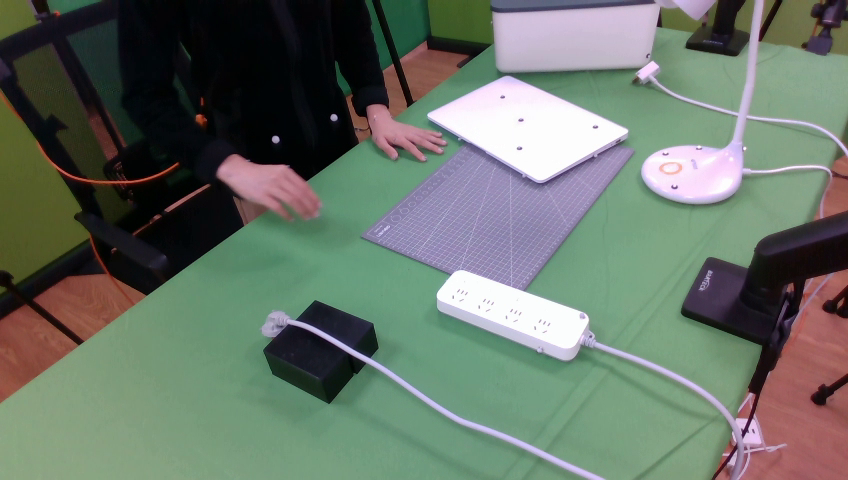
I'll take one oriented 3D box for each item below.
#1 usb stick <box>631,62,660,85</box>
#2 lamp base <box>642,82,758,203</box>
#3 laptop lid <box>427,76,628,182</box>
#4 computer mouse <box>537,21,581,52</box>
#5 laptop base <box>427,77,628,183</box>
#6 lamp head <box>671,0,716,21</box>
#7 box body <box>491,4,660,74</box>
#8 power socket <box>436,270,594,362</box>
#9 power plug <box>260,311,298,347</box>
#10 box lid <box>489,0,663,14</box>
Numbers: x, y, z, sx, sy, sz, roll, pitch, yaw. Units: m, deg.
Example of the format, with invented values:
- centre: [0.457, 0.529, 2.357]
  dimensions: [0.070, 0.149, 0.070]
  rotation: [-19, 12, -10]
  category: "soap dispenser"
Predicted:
- centre: [0.480, -0.358, 1.317]
  dimensions: [0.059, 0.022, 0.027]
  rotation: [-35, 56, 14]
  category: "usb stick"
- centre: [0.464, -0.174, 0.992]
  dimensions: [0.179, 0.181, 0.159]
  rotation: [-5, 41, -1]
  category: "lamp base"
- centre: [0.196, -0.237, 1.213]
  dimensions: [0.242, 0.013, 0.353]
  rotation: [-29, 44, -21]
  category: "laptop lid"
- centre: [0.335, -0.503, 1.487]
  dimensions: [0.118, 0.041, 0.062]
  rotation: [22, 18, -28]
  category: "computer mouse"
- centre: [0.199, -0.229, 1.222]
  dimensions: [0.236, 0.023, 0.351]
  rotation: [-31, 45, -22]
  category: "laptop base"
- centre: [0.375, -0.373, 0.807]
  dimensions: [0.122, 0.113, 0.112]
  rotation: [-40, 27, 32]
  category: "lamp head"
- centre: [0.346, -0.520, 1.429]
  dimensions: [0.363, 0.161, 0.253]
  rotation: [0, 41, 9]
  category: "box body"
- centre: [0.118, 0.101, 0.832]
  dimensions: [0.225, 0.033, 0.072]
  rotation: [19, 48, 27]
  category: "power socket"
- centre: [-0.197, 0.127, 0.822]
  dimensions: [0.035, 0.053, 0.072]
  rotation: [-17, 23, -30]
  category: "power plug"
- centre: [0.340, -0.575, 1.380]
  dimensions: [0.371, 0.015, 0.262]
  rotation: [0, 41, 9]
  category: "box lid"
